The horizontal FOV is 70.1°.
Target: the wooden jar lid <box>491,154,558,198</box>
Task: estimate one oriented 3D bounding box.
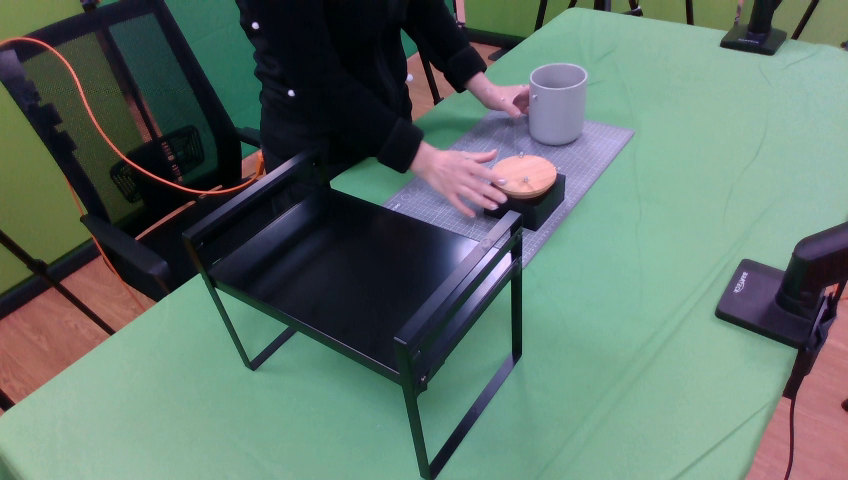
[{"bbox_3d":[0.165,-0.104,0.994,0.108,0.021,0.108,-4,40,4],"label":"wooden jar lid"}]

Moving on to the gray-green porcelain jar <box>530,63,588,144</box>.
[{"bbox_3d":[0.255,-0.255,1.151,0.106,0.127,0.105,-4,41,4],"label":"gray-green porcelain jar"}]
